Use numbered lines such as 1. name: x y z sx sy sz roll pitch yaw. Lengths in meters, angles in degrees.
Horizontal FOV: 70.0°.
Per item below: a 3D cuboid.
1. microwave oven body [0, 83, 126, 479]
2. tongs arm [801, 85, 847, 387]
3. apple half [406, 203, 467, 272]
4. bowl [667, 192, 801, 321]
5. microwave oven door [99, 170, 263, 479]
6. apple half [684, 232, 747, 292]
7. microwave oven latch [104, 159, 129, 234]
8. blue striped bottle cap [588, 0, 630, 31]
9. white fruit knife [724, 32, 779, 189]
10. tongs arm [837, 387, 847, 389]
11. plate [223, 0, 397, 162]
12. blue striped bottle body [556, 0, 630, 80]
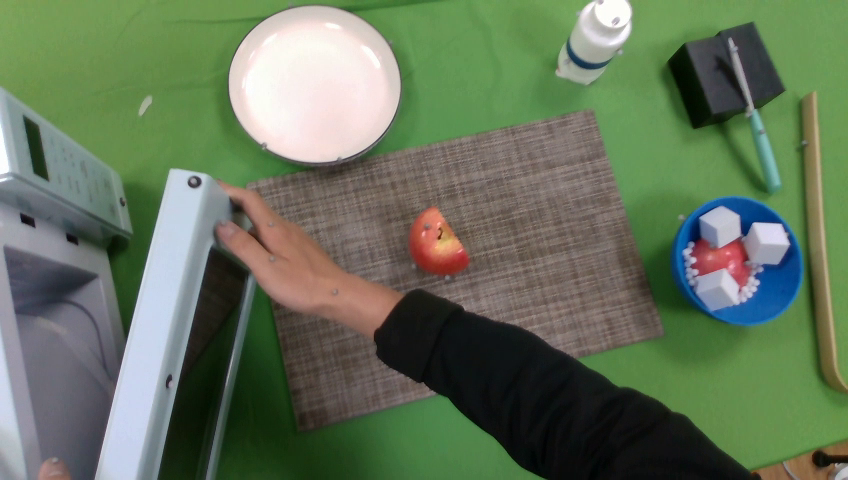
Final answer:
1. microwave oven body: -0.445 0.138 0.544 0.326 0.260 0.440 -15 82 -8
2. tongs arm: 0.501 -0.012 0.767 0.028 0.028 0.386 4 80 -7
3. apple half: 0.007 0.005 0.700 0.053 0.075 0.080 -33 87 -6
4. bowl: 0.353 0.025 0.724 0.151 0.077 0.150 1 79 -4
5. microwave oven door: -0.221 0.136 0.558 0.039 0.244 0.354 9 79 -2
6. apple half: 0.354 0.024 0.720 0.081 0.033 0.081 1 79 -3
7. microwave oven latch: -0.357 -0.049 0.683 0.030 0.029 0.079 -14 82 -8
8. blue striped bottle cap: 0.211 -0.262 0.691 0.044 0.020 0.044 1 82 -5
9. white fruit knife: 0.407 -0.160 0.757 0.016 0.027 0.208 -21 99 10
10. tongs arm: 0.581 0.004 0.768 0.051 0.026 0.383 16 80 -1
11. plate: -0.137 -0.192 0.746 0.208 0.039 0.207 1 80 -5
12. blue striped bottle body: 0.208 -0.251 0.740 0.063 0.121 0.063 1 79 -4
